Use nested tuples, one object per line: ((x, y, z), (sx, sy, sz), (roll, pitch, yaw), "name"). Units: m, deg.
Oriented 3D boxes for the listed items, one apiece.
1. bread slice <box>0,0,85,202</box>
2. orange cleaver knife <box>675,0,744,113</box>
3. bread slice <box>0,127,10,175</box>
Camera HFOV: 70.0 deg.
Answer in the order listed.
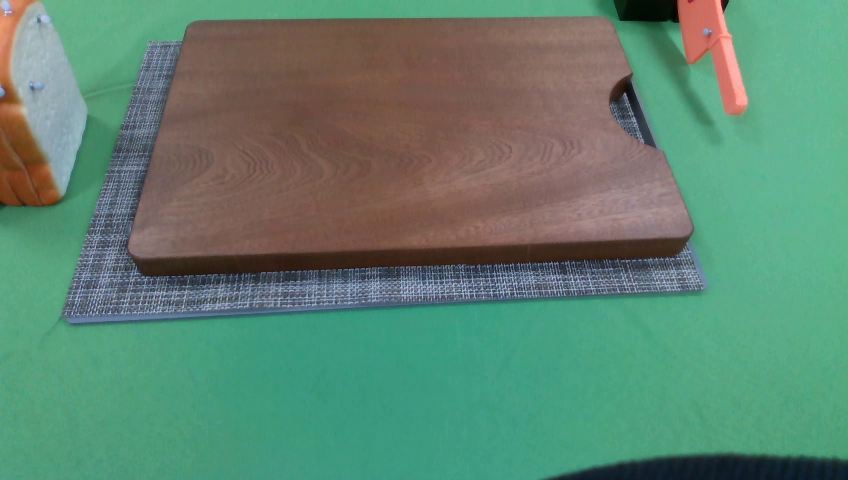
((-0.283, -0.107, 0.444), (0.019, 0.132, 0.104), (0, 55, -11), "bread slice")
((0.261, -0.205, 0.568), (0.012, 0.077, 0.210), (0, 73, -6), "orange cleaver knife")
((-0.335, -0.106, 0.438), (0.018, 0.135, 0.106), (-4, 49, -12), "bread slice")
